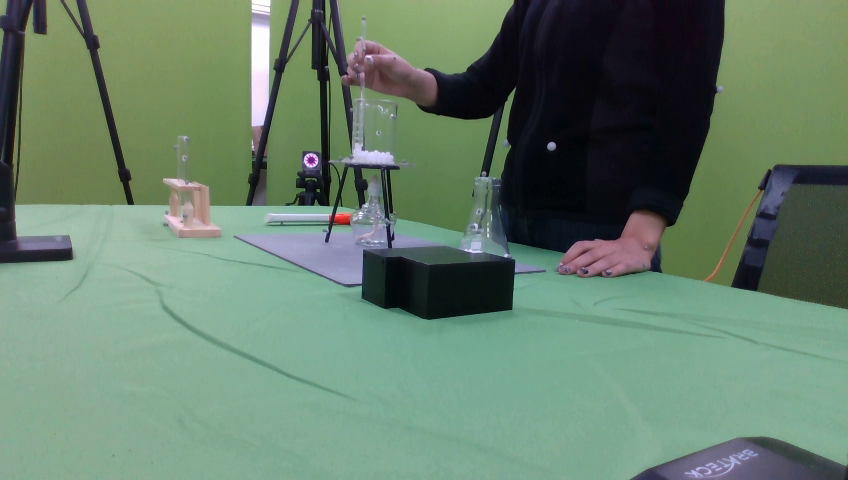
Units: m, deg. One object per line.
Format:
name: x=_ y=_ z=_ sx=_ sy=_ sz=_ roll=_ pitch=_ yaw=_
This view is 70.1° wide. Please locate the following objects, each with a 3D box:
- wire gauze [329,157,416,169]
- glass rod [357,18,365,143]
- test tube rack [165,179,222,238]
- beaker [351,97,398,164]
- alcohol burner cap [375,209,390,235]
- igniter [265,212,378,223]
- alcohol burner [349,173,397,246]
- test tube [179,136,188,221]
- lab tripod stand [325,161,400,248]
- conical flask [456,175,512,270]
wire gauze: x=-0.079 y=-0.125 z=0.972 sx=0.121 sy=0.011 sz=0.125 roll=6 pitch=6 yaw=5
glass rod: x=-0.099 y=-0.251 z=0.949 sx=0.008 sy=0.199 sz=0.008 roll=1 pitch=-4 yaw=0
test tube rack: x=-0.423 y=-0.062 z=1.098 sx=0.067 sy=0.085 sz=0.241 roll=-2 pitch=9 yaw=-28
beaker: x=-0.078 y=-0.171 z=0.962 sx=0.074 sy=0.100 sz=0.084 roll=6 pitch=8 yaw=18
alcohol burner cap: x=-0.076 y=-0.035 z=1.145 sx=0.034 sy=0.048 sz=0.034 roll=2 pitch=7 yaw=0
igniter: x=-0.195 y=-0.048 z=1.285 sx=0.278 sy=0.025 sz=0.057 roll=-2 pitch=-2 yaw=-30
alcohol burner: x=-0.081 y=-0.050 z=0.982 sx=0.078 sy=0.119 sz=0.078 roll=4 pitch=8 yaw=0
test tube: x=-0.425 y=-0.108 z=1.070 sx=0.017 sy=0.150 sz=0.017 roll=4 pitch=9 yaw=0
lab tripod stand: x=-0.083 y=-0.059 z=0.977 sx=0.148 sy=0.131 sz=0.148 roll=4 pitch=8 yaw=0
conical flask: x=0.082 y=-0.025 z=0.801 sx=0.075 sy=0.122 sz=0.075 roll=2 pitch=7 yaw=0
